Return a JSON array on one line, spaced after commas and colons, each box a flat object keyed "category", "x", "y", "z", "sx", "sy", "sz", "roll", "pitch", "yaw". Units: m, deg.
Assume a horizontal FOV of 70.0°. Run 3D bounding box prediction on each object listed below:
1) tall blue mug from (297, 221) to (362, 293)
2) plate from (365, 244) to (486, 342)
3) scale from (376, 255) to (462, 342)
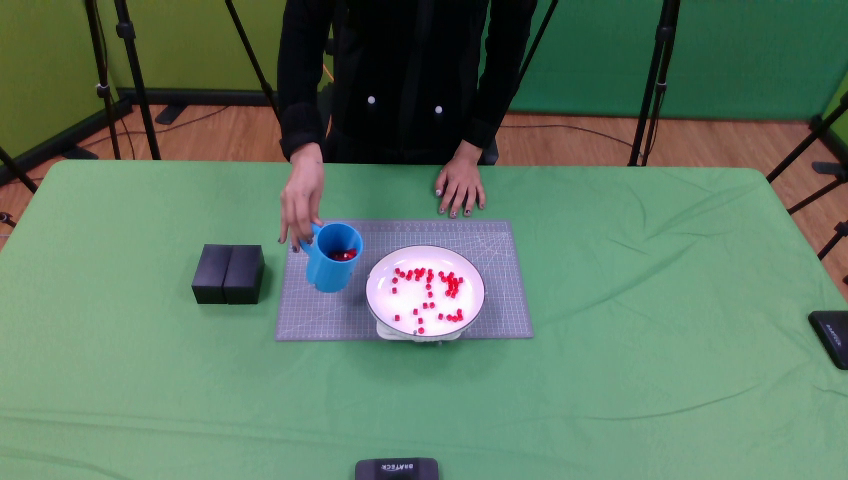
[{"category": "tall blue mug", "x": -0.165, "y": 0.025, "z": 0.996, "sx": 0.107, "sy": 0.108, "sz": 0.077, "roll": 19, "pitch": 55, "yaw": -8}, {"category": "plate", "x": 0.001, "y": 0.093, "z": 1.051, "sx": 0.209, "sy": 0.038, "sz": 0.208, "roll": 1, "pitch": 46, "yaw": -1}, {"category": "scale", "x": -0.010, "y": 0.096, "z": 1.094, "sx": 0.149, "sy": 0.032, "sz": 0.199, "roll": 2, "pitch": 46, "yaw": -3}]
